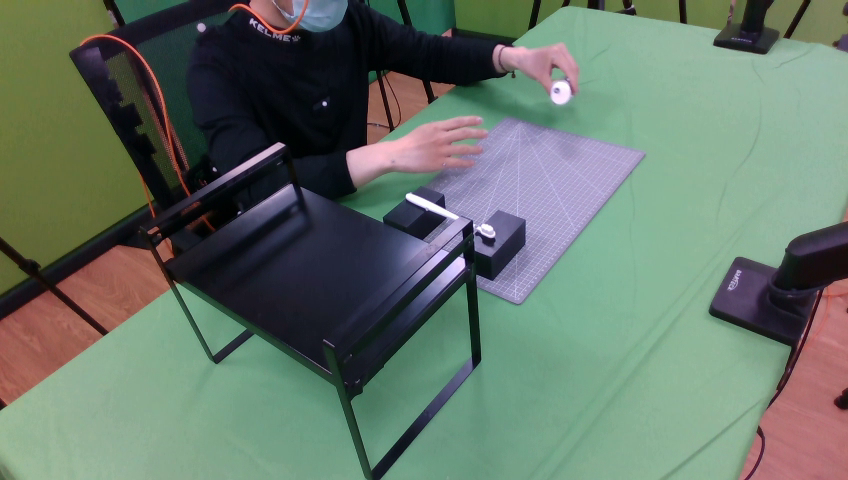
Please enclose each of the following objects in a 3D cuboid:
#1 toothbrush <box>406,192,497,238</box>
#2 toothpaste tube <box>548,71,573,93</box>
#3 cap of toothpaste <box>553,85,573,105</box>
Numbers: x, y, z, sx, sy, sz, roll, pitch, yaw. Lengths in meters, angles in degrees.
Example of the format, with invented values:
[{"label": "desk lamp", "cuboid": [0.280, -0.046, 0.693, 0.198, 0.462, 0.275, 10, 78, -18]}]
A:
[{"label": "toothbrush", "cuboid": [0.038, -0.043, 0.936, 0.180, 0.017, 0.014, 26, 67, 35]}, {"label": "toothpaste tube", "cuboid": [0.273, -0.305, 1.191, 0.055, 0.034, 0.165, -16, 23, 17]}, {"label": "cap of toothpaste", "cuboid": [0.258, -0.270, 1.123, 0.037, 0.037, 0.011, 1, 27, 9]}]
